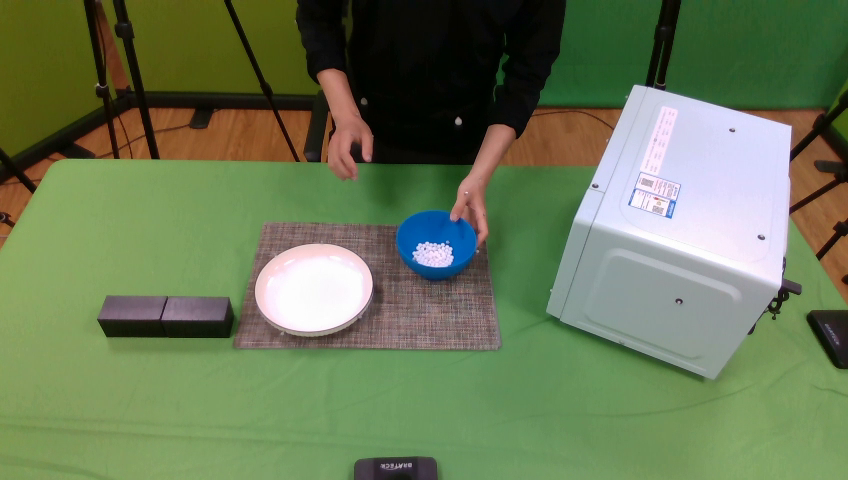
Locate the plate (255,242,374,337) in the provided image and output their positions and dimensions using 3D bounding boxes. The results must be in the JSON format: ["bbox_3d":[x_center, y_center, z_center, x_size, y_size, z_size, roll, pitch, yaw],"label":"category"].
[{"bbox_3d":[-0.192,0.090,1.079,0.208,0.039,0.206,2,46,-2],"label":"plate"}]

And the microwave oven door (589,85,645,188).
[{"bbox_3d":[0.342,-0.107,1.149,0.039,0.245,0.354,20,48,15],"label":"microwave oven door"}]

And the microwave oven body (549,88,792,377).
[{"bbox_3d":[0.456,-0.028,1.088,0.325,0.261,0.440,20,47,16],"label":"microwave oven body"}]

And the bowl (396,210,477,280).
[{"bbox_3d":[0.020,0.022,1.133,0.151,0.077,0.150,2,46,-2],"label":"bowl"}]

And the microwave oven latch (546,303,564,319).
[{"bbox_3d":[0.242,0.102,1.081,0.030,0.029,0.079,21,48,17],"label":"microwave oven latch"}]
